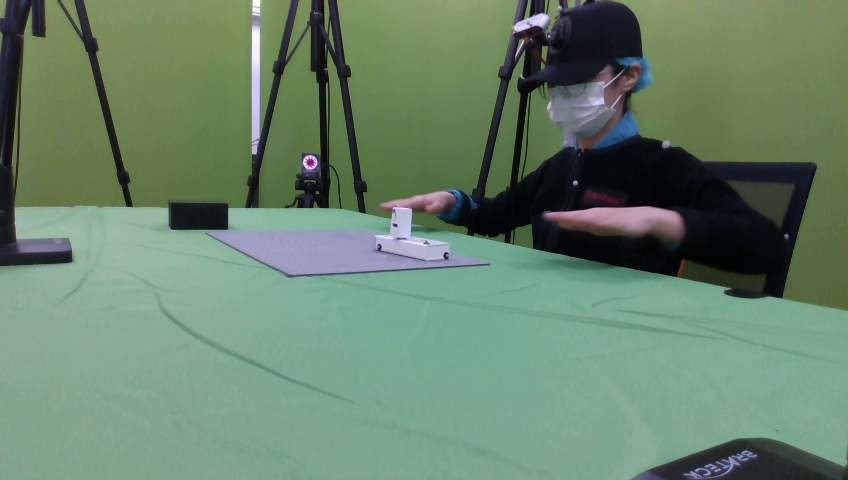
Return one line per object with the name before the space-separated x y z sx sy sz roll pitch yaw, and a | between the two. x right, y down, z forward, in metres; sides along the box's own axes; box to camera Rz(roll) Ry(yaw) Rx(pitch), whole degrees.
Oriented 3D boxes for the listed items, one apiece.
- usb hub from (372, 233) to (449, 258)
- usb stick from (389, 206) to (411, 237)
usb hub | -0.023 0.007 0.918 0.050 0.025 0.124 -5 10 -42
usb stick | -0.036 -0.022 0.909 0.027 0.059 0.021 -6 13 -43
